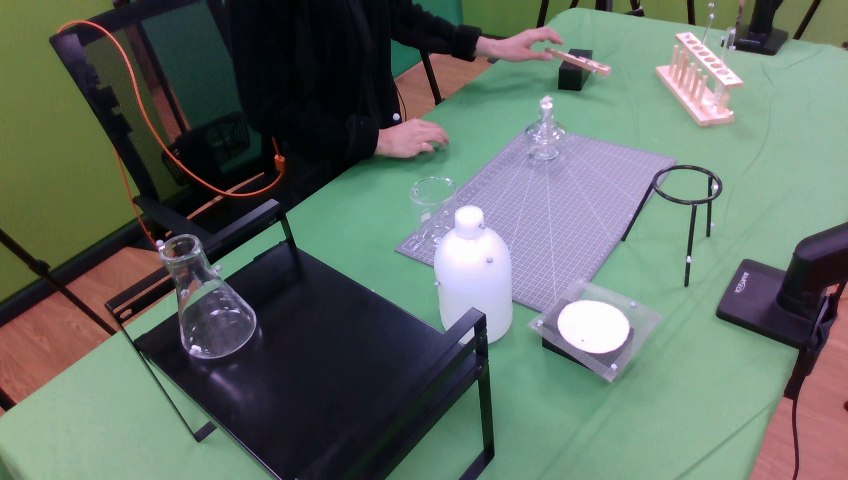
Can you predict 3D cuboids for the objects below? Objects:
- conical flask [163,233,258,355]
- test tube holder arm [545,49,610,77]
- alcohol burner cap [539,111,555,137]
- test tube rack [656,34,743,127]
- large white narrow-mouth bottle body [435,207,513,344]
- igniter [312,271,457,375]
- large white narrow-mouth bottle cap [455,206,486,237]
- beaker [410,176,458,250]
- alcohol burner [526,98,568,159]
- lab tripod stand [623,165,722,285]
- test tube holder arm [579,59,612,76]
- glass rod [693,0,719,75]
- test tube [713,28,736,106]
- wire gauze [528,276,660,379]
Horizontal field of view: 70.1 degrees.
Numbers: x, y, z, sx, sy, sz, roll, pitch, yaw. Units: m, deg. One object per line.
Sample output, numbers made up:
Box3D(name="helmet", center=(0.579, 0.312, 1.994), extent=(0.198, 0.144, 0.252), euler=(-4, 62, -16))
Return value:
Box3D(name="conical flask", center=(-0.217, 0.051, 0.601), extent=(0.075, 0.122, 0.075), euler=(-4, 40, 4))
Box3D(name="test tube holder arm", center=(0.331, -0.387, 1.315), extent=(0.013, 0.015, 0.177), euler=(-26, 43, -29))
Box3D(name="alcohol burner cap", center=(0.243, -0.232, 1.197), extent=(0.034, 0.048, 0.033), euler=(-5, 40, 4))
Box3D(name="test tube rack", center=(0.553, -0.330, 1.233), extent=(0.067, 0.085, 0.241), euler=(-7, 40, 2))
Box3D(name="large white narrow-mouth bottle body", center=(0.065, 0.041, 0.791), extent=(0.102, 0.195, 0.101), euler=(-4, 41, 4))
Box3D(name="igniter", center=(-0.068, 0.111, 0.859), extent=(0.274, 0.025, 0.057), euler=(27, 60, 34))
Box3D(name="large white narrow-mouth bottle cap", center=(0.057, -0.023, 0.734), extent=(0.038, 0.024, 0.037), euler=(-4, 40, 4))
Box3D(name="beaker", center=(0.022, -0.041, 0.964), extent=(0.073, 0.101, 0.084), euler=(28, 51, 35))
Box3D(name="alcohol burner", center=(0.228, -0.210, 1.118), extent=(0.078, 0.119, 0.077), euler=(-5, 43, 5))
Box3D(name="lab tripod stand", center=(0.365, -0.030, 0.875), extent=(0.148, 0.132, 0.147), euler=(-6, 41, 6))
Box3D(name="test tube holder arm", center=(0.363, -0.368, 1.289), extent=(0.010, 0.015, 0.087), euler=(-27, 43, -30))
Box3D(name="glass rod", center=(0.561, -0.401, 1.214), extent=(0.008, 0.200, 0.008), euler=(-1, 49, 2))
Box3D(name="test tube", center=(0.570, -0.325, 1.149), extent=(0.017, 0.151, 0.017), euler=(-4, 36, 4))
Box3D(name="wire gauze", center=(0.214, 0.103, 0.763), extent=(0.124, 0.011, 0.122), euler=(30, 52, 35))
